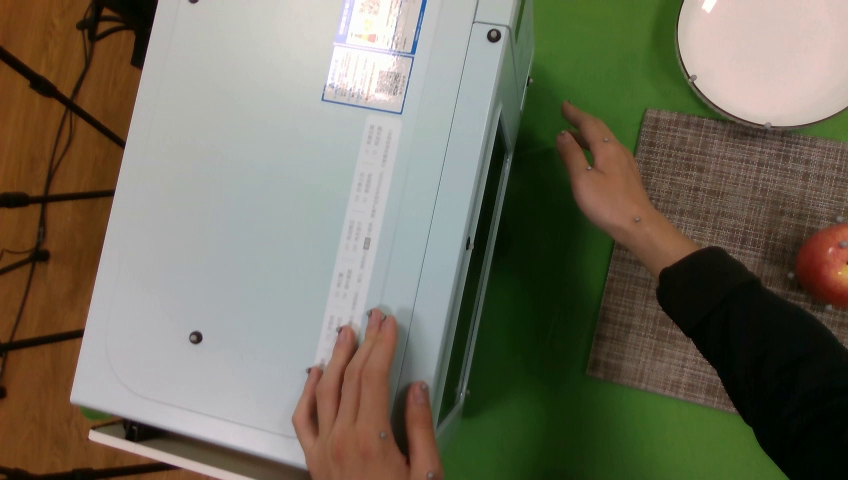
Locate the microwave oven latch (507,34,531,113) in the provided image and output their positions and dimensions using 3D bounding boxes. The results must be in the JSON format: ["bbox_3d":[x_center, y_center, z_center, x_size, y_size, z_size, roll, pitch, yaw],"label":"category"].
[{"bbox_3d":[0.099,-0.182,0.669,0.030,0.029,0.079,11,89,11],"label":"microwave oven latch"}]

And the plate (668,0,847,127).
[{"bbox_3d":[0.365,-0.218,0.640,0.207,0.039,0.207,-1,86,10],"label":"plate"}]

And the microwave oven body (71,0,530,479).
[{"bbox_3d":[-0.098,-0.045,0.598,0.325,0.261,0.441,11,89,11],"label":"microwave oven body"}]

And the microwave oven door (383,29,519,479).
[{"bbox_3d":[0.033,0.023,0.563,0.039,0.245,0.355,11,88,12],"label":"microwave oven door"}]

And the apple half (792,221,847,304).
[{"bbox_3d":[0.393,0.024,0.595,0.053,0.075,0.080,-8,88,16],"label":"apple half"}]

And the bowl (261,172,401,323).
[{"bbox_3d":[-0.084,0.006,0.632,0.151,0.077,0.151,1,94,19],"label":"bowl"}]

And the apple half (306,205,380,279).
[{"bbox_3d":[-0.085,0.005,0.622,0.081,0.032,0.081,1,99,5],"label":"apple half"}]
